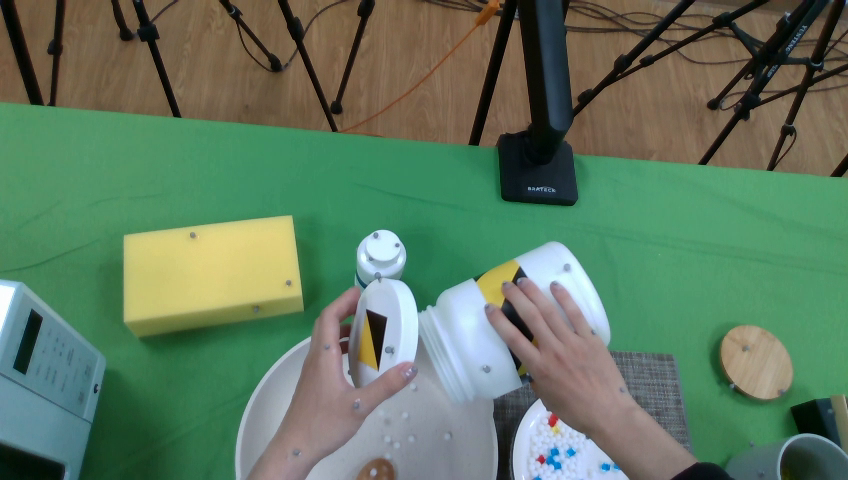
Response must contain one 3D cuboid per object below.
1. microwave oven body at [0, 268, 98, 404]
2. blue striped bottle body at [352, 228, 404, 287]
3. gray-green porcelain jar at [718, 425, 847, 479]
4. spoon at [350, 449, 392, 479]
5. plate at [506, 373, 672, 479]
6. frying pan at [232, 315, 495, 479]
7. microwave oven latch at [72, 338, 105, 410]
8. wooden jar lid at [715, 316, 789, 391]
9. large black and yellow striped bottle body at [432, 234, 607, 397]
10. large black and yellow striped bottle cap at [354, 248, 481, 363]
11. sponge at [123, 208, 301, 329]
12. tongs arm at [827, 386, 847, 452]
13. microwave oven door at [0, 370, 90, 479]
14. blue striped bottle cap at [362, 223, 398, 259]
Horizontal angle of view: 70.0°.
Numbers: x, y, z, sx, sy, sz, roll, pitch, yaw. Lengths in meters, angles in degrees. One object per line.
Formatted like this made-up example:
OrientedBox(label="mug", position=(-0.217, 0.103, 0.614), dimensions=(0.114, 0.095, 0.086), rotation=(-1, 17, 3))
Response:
OrientedBox(label="microwave oven body", position=(-0.526, 0.257, 0.514), dimensions=(0.327, 0.261, 0.438), rotation=(5, 64, -8))
OrientedBox(label="blue striped bottle body", position=(-0.060, 0.023, 0.787), dimensions=(0.063, 0.121, 0.062), rotation=(4, 64, -8))
OrientedBox(label="gray-green porcelain jar", position=(0.435, 0.289, 0.740), dimensions=(0.106, 0.127, 0.105), rotation=(4, 64, -7))
OrientedBox(label="spoon", position=(-0.099, 0.298, 0.661), dimensions=(0.041, 0.022, 0.193), rotation=(44, 39, 9))
OrientedBox(label="plate", position=(0.201, 0.272, 0.755), dimensions=(0.209, 0.038, 0.207), rotation=(4, 64, -7))
OrientedBox(label="frying pan", position=(-0.024, 0.315, 0.660), dimensions=(0.307, 0.103, 0.483), rotation=(-18, 61, -16))
OrientedBox(label="microwave oven latch", position=(-0.389, 0.153, 0.695), dimensions=(0.030, 0.029, 0.078), rotation=(4, 65, -8))
OrientedBox(label="wooden jar lid", position=(0.465, 0.163, 0.866), dimensions=(0.108, 0.021, 0.107), rotation=(4, 66, -7))
OrientedBox(label="large black and yellow striped bottle body", position=(0.091, 0.086, 0.669), dimensions=(0.184, 0.132, 0.129), rotation=(-25, 69, 0))
OrientedBox(label="large black and yellow striped bottle cap", position=(-0.006, 0.058, 0.551), dimensions=(0.115, 0.019, 0.114), rotation=(7, 52, -9))
OrientedBox(label="sponge", position=(-0.269, 0.035, 0.780), dimensions=(0.207, 0.061, 0.117), rotation=(-8, 66, -14))
OrientedBox(label="tongs arm", position=(0.563, 0.373, 0.740), dimensions=(0.051, 0.026, 0.382), rotation=(0, 75, -11))
OrientedBox(label="microwave oven door", position=(-0.382, 0.304, 0.509), dimensions=(0.039, 0.245, 0.353), rotation=(4, 64, -7))
OrientedBox(label="blue striped bottle cap", position=(-0.053, 0.001, 0.741), dimensions=(0.044, 0.021, 0.044), rotation=(4, 60, -6))
